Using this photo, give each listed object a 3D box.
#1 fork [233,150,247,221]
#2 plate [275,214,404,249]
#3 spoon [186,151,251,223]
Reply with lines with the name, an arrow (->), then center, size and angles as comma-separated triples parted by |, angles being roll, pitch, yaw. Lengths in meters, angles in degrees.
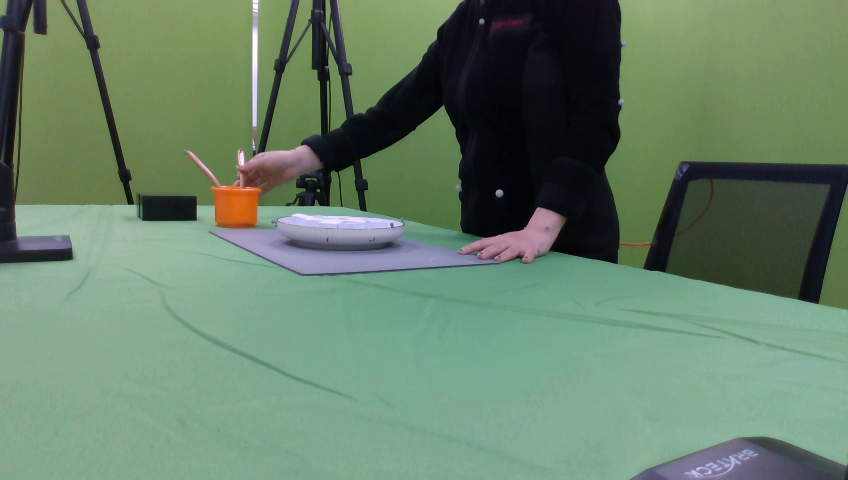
fork -> -0.367, -0.113, 1.213 | 0.028, 0.018, 0.206 | 13, 46, -29
plate -> -0.136, -0.013, 0.982 | 0.208, 0.039, 0.207 | 3, 7, 0
spoon -> -0.401, -0.103, 1.176 | 0.021, 0.193, 0.042 | -42, -10, 25
